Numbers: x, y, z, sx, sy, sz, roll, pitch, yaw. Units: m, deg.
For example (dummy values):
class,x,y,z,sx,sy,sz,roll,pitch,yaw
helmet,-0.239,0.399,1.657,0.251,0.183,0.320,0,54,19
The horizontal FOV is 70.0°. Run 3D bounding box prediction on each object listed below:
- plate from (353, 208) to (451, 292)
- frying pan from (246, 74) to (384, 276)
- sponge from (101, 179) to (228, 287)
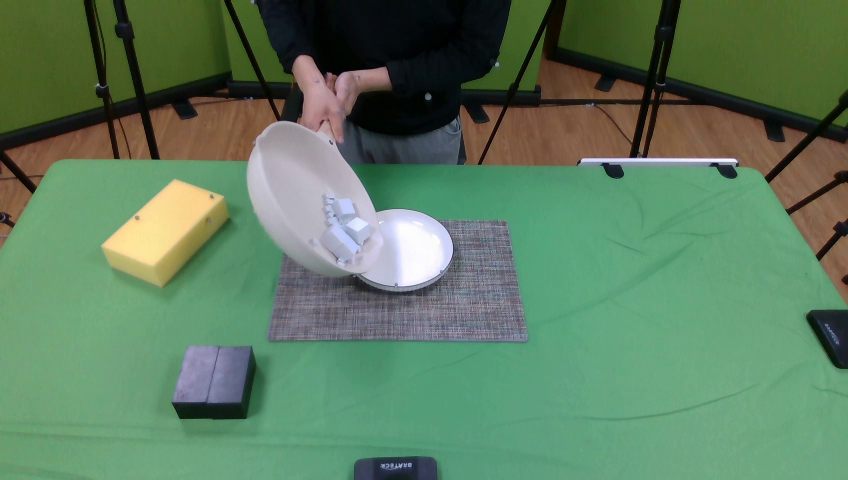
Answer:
class,x,y,z,sx,sy,sz,roll,pitch,yaw
plate,-0.053,0.022,1.156,0.208,0.039,0.206,2,46,-2
frying pan,-0.186,-0.142,1.097,0.102,0.309,0.485,-23,45,28
sponge,-0.486,-0.019,1.151,0.118,0.061,0.206,19,47,12
